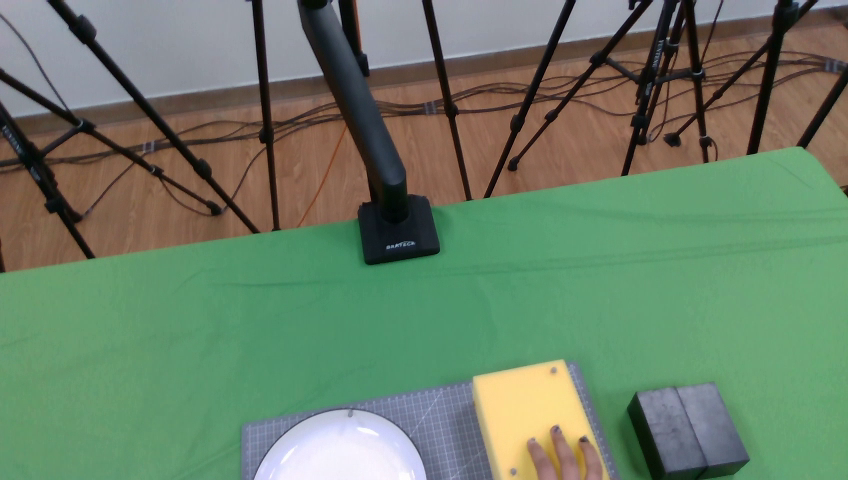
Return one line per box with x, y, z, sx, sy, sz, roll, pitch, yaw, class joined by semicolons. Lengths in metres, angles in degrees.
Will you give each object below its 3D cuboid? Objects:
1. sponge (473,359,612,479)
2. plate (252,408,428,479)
0.140;0.252;0.709;0.118;0.061;0.204;-11;50;-6;sponge
-0.097;0.301;0.707;0.209;0.038;0.207;-1;52;1;plate
